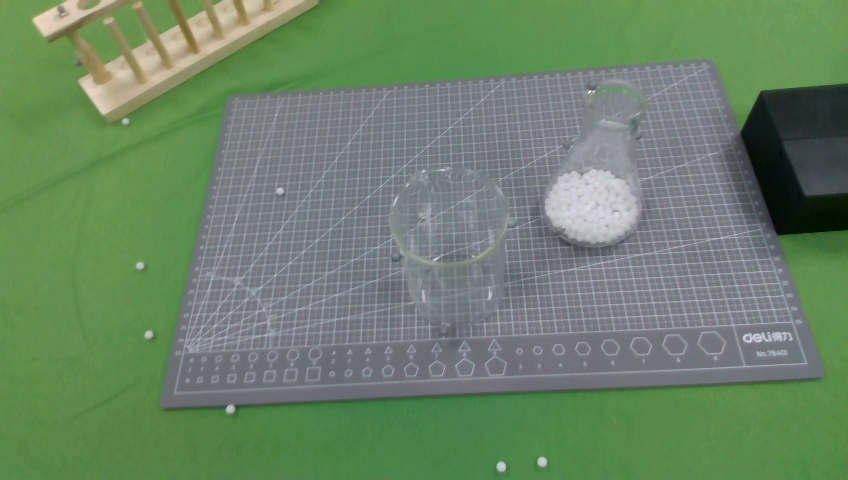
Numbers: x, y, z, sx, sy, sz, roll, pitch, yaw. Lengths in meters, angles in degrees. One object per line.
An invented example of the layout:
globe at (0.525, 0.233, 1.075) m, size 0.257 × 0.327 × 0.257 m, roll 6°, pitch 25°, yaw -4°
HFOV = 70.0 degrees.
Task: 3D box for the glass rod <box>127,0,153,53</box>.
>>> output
glass rod at (-0.273, -0.251, 0.530) m, size 0.008 × 0.201 × 0.008 m, roll 1°, pitch 51°, yaw -1°

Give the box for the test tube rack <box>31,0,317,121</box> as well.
test tube rack at (-0.230, -0.224, 0.587) m, size 0.242 × 0.086 × 0.066 m, roll -37°, pitch 62°, yaw -16°

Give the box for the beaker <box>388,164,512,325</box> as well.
beaker at (0.018, 0.007, 0.411) m, size 0.074 × 0.101 × 0.083 m, roll -24°, pitch 58°, yaw -9°

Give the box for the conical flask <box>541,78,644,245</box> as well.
conical flask at (0.123, -0.056, 0.425) m, size 0.075 × 0.123 × 0.074 m, roll -3°, pitch 58°, yaw 5°
